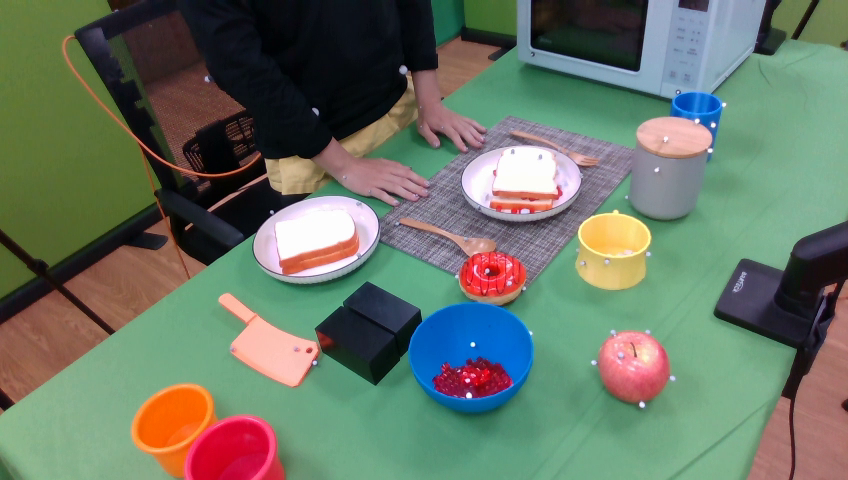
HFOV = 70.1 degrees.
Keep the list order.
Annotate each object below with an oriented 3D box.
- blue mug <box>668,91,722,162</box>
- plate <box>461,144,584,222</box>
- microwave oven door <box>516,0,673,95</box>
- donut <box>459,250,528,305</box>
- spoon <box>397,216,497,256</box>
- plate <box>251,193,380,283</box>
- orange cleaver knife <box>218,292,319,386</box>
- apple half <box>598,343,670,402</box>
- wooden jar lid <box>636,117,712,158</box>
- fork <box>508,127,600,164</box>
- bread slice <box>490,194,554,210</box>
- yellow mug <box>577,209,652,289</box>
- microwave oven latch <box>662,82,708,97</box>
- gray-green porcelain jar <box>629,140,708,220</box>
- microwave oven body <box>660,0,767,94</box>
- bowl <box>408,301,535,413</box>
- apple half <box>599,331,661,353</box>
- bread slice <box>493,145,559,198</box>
[{"bbox_3d":[0.475,-0.207,1.078,0.082,0.106,0.116,4,42,13],"label":"blue mug"},{"bbox_3d":[0.168,-0.095,1.040,0.207,0.039,0.206,-4,40,4],"label":"plate"},{"bbox_3d":[0.344,-0.458,1.256,0.353,0.245,0.039,26,51,33],"label":"microwave oven door"},{"bbox_3d":[0.100,0.053,0.873,0.099,0.048,0.098,-4,40,4],"label":"donut"},{"bbox_3d":[0.033,-0.011,0.972,0.192,0.022,0.041,23,71,29],"label":"spoon"},{"bbox_3d":[-0.173,-0.001,0.984,0.209,0.038,0.208,-4,41,4],"label":"plate"},{"bbox_3d":[-0.235,0.136,0.850,0.209,0.012,0.077,25,56,30],"label":"orange cleaver knife"},{"bbox_3d":[0.247,0.161,0.710,0.081,0.075,0.053,1,46,5],"label":"apple half"},{"bbox_3d":[0.377,-0.151,0.917,0.108,0.021,0.108,-2,41,2],"label":"wooden jar lid"},{"bbox_3d":[0.240,-0.180,1.142,0.205,0.019,0.028,32,62,34],"label":"fork"},{"bbox_3d":[0.173,-0.099,1.047,0.104,0.019,0.131,2,43,12],"label":"bread slice"},{"bbox_3d":[0.279,0.004,0.893,0.099,0.064,0.130,5,41,15],"label":"yellow mug"},{"bbox_3d":[0.517,-0.298,1.202,0.078,0.029,0.030,27,52,34],"label":"microwave oven latch"},{"bbox_3d":[0.383,-0.104,0.958,0.106,0.127,0.105,-4,41,4],"label":"gray-green porcelain jar"},{"bbox_3d":[0.473,-0.516,1.313,0.438,0.261,0.327,26,51,34],"label":"microwave oven body"},{"bbox_3d":[0.060,0.156,0.739,0.151,0.077,0.150,-4,40,4],"label":"bowl"},{"bbox_3d":[0.249,0.134,0.738,0.081,0.081,0.032,-1,46,7],"label":"apple half"},{"bbox_3d":[0.172,-0.118,1.027,0.107,0.018,0.134,3,43,7],"label":"bread slice"}]
